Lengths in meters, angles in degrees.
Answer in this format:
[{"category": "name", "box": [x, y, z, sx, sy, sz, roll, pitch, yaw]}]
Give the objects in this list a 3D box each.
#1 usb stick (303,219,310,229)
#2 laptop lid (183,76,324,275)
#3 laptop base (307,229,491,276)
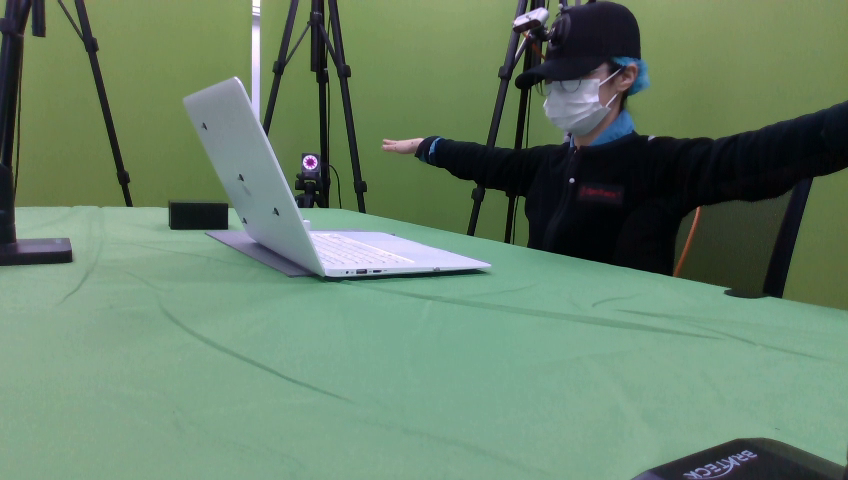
[{"category": "usb stick", "box": [-0.238, -0.025, 1.101, 0.021, 0.027, 0.059, 10, 13, 39]}, {"category": "laptop lid", "box": [-0.237, -0.085, 0.791, 0.013, 0.242, 0.355, -29, 23, -23]}, {"category": "laptop base", "box": [-0.094, 0.015, 0.888, 0.237, 0.023, 0.352, 2, 7, -30]}]
